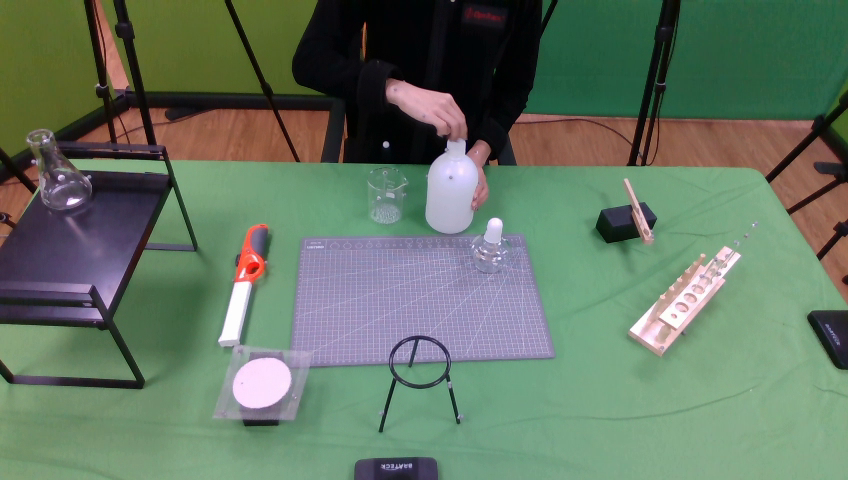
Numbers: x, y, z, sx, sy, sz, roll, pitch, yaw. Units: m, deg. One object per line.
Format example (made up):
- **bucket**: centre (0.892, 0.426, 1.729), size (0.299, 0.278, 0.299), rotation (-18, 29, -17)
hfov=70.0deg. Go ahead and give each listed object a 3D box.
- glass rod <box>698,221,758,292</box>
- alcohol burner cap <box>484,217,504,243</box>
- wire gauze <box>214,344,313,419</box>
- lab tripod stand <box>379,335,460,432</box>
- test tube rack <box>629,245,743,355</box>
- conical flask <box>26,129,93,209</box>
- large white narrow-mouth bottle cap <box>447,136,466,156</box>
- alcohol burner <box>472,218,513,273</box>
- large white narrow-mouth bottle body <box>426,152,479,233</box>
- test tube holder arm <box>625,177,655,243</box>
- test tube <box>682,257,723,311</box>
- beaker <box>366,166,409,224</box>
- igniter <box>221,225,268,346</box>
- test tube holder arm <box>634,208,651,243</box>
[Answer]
- **glass rod**: centre (0.527, 0.035, 1.060), size (0.008, 0.200, 0.008), rotation (5, 49, -6)
- **alcohol burner cap**: centre (0.130, -0.021, 1.107), size (0.034, 0.048, 0.033), rotation (4, 41, -3)
- **wire gauze**: centre (-0.241, 0.213, 0.915), size (0.121, 0.011, 0.124), rotation (5, 46, 1)
- **lab tripod stand**: centre (-0.011, 0.214, 0.911), size (0.148, 0.132, 0.147), rotation (1, 45, 0)
- **test tube rack**: centre (0.474, 0.095, 1.091), size (0.242, 0.085, 0.066), rotation (-34, 56, -31)
- **conical flask**: centre (-0.575, -0.113, 0.946), size (0.075, 0.122, 0.075), rotation (2, 46, -2)
- **large white narrow-mouth bottle cap**: centre (0.061, -0.173, 1.120), size (0.038, 0.024, 0.037), rotation (2, 46, -2)
- **alcohol burner**: centre (0.128, 0.005, 1.132), size (0.078, 0.120, 0.077), rotation (0, 47, 0)
- **large white narrow-mouth bottle body**: centre (0.057, -0.111, 1.187), size (0.102, 0.195, 0.101), rotation (2, 46, -2)
- **test tube holder arm**: centre (0.433, -0.063, 1.220), size (0.013, 0.015, 0.177), rotation (1, 47, -3)
- **test tube**: centre (0.475, 0.080, 1.037), size (0.017, 0.151, 0.017), rotation (1, 50, -1)
- **beaker**: centre (-0.074, -0.088, 1.222), size (0.084, 0.101, 0.073), rotation (4, 46, -1)
- **igniter**: centre (-0.323, 0.072, 1.100), size (0.057, 0.025, 0.274), rotation (-6, 45, 5)
- **test tube holder arm**: centre (0.428, -0.030, 1.189), size (0.010, 0.015, 0.087), rotation (1, 47, -2)
